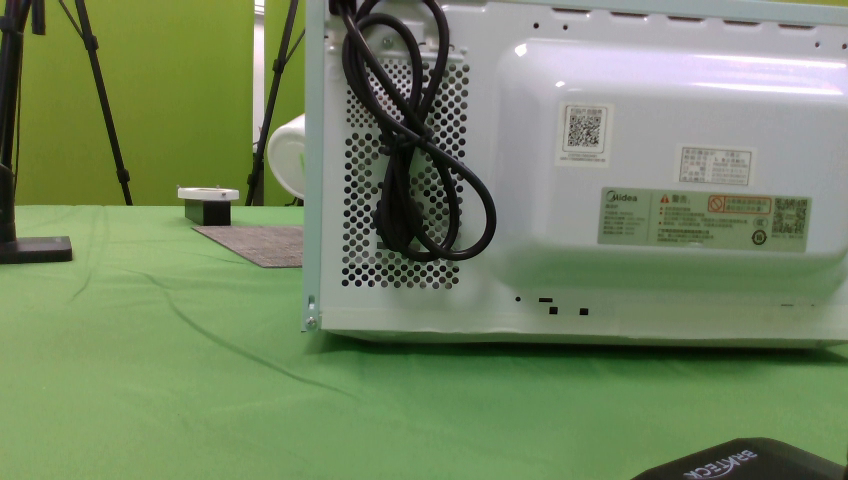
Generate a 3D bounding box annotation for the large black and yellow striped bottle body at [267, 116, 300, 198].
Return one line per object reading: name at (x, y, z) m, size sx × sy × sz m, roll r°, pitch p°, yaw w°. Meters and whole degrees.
large black and yellow striped bottle body at (-0.153, -0.157, 0.993) m, size 0.130 × 0.131 × 0.184 m, roll 6°, pitch 34°, yaw 26°

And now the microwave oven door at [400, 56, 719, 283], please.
microwave oven door at (0.155, -0.077, 0.698) m, size 0.356 × 0.243 × 0.039 m, roll 2°, pitch 8°, yaw -5°

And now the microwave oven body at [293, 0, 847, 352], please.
microwave oven body at (0.122, -0.055, 0.550) m, size 0.442 × 0.260 × 0.325 m, roll 3°, pitch 7°, yaw -5°

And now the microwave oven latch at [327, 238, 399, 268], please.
microwave oven latch at (-0.069, 0.015, 0.694) m, size 0.079 × 0.029 × 0.030 m, roll 3°, pitch 7°, yaw -3°

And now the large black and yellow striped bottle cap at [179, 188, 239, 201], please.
large black and yellow striped bottle cap at (-0.434, -0.093, 1.226) m, size 0.115 × 0.019 × 0.115 m, roll 3°, pitch 9°, yaw 0°

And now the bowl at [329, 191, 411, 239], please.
bowl at (-0.099, -0.046, 1.104) m, size 0.151 × 0.077 × 0.151 m, roll 3°, pitch 8°, yaw 0°
